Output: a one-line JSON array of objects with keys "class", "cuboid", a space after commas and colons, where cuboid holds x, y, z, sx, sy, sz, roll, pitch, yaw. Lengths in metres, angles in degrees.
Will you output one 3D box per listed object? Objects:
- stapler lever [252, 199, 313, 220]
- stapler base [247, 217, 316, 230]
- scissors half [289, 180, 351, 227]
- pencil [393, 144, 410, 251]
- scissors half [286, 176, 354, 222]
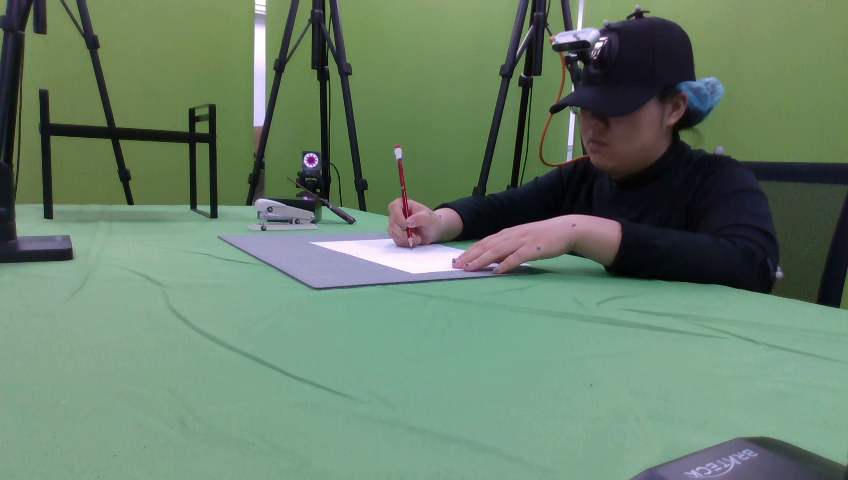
[{"class": "stapler lever", "cuboid": [-0.273, -0.058, 1.170, 0.119, 0.040, 0.026, 0, 10, -37]}, {"class": "stapler base", "cuboid": [-0.276, -0.033, 1.172, 0.131, 0.024, 0.041, 0, 10, -37]}, {"class": "scissors half", "cuboid": [-0.232, -0.085, 1.317, 0.175, 0.013, 0.040, 38, 21, 4]}, {"class": "pencil", "cuboid": [-0.035, -0.071, 0.976, 0.012, 0.193, 0.012, -6, -23, -2]}, {"class": "scissors half", "cuboid": [-0.229, -0.091, 1.337, 0.175, 0.013, 0.040, 33, 16, -13]}]
